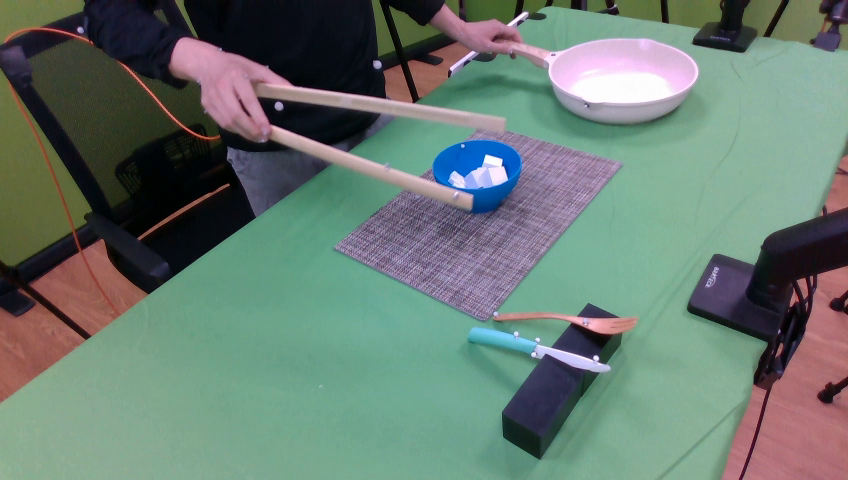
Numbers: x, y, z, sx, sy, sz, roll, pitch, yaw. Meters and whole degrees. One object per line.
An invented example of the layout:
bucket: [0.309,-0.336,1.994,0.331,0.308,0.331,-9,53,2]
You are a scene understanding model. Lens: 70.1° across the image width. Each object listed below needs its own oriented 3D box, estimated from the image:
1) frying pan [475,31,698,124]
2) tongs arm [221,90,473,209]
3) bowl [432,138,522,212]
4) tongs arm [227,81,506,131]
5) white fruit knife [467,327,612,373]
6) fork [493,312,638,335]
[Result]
frying pan: [0.320,-0.371,1.290,0.485,0.103,0.307,28,50,23]
tongs arm: [-0.108,-0.122,0.784,0.383,0.026,0.051,19,60,15]
bowl: [0.091,-0.100,1.021,0.151,0.077,0.150,-4,41,4]
tongs arm: [-0.081,-0.182,0.826,0.387,0.028,0.028,9,61,8]
white fruit knife: [0.134,0.134,0.742,0.205,0.027,0.016,7,34,41]
fork: [0.173,0.103,0.774,0.206,0.019,0.028,0,41,40]
